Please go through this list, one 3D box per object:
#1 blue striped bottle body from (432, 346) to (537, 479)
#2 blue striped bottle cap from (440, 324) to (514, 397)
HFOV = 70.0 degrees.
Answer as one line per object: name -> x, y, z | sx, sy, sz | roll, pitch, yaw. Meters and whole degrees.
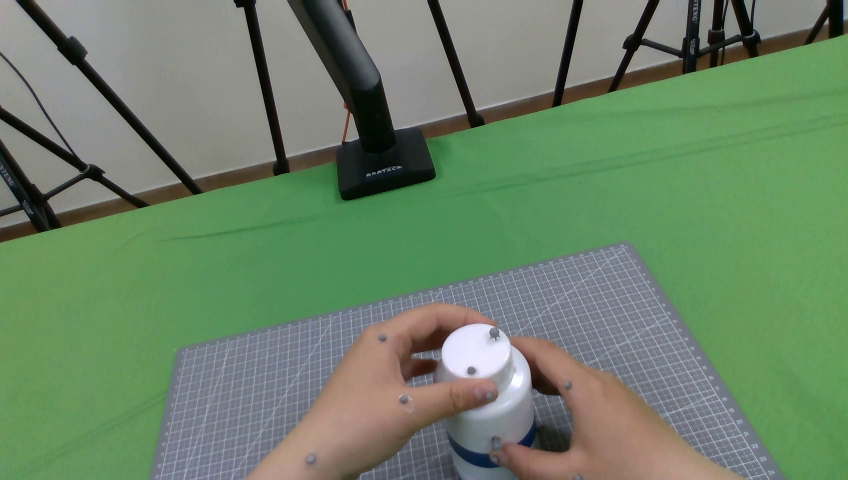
blue striped bottle body -> 0.041, 0.112, 0.406 | 0.063, 0.122, 0.062 | -7, 42, 7
blue striped bottle cap -> 0.032, 0.073, 0.372 | 0.044, 0.021, 0.044 | -7, 39, 6
